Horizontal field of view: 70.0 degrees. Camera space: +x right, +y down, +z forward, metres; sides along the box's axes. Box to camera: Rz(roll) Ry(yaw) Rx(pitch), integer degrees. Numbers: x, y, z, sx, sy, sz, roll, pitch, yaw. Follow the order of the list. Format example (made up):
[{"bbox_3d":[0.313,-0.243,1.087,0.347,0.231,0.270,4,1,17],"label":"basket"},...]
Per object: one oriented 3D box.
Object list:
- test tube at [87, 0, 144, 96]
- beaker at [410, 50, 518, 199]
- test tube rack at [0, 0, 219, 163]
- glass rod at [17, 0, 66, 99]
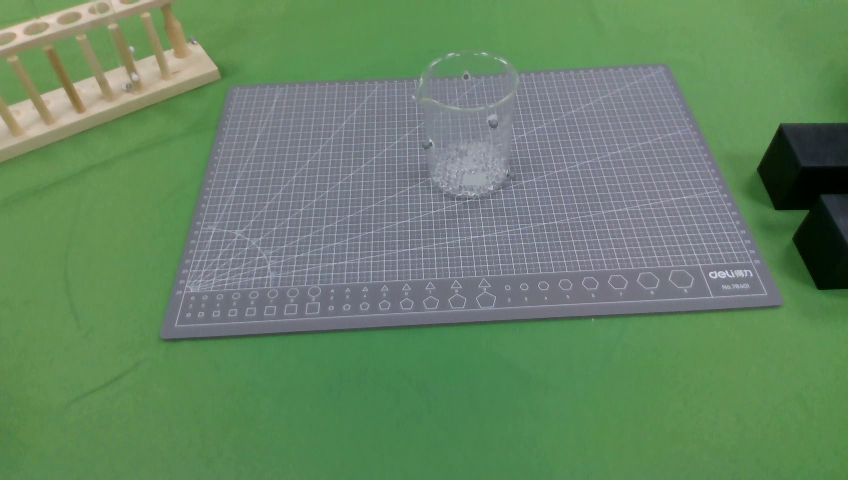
[{"bbox_3d":[-0.289,-0.198,0.550,0.017,0.151,0.017,0,48,1],"label":"test tube"},{"bbox_3d":[0.032,-0.089,0.494,0.084,0.101,0.073,-17,51,-10],"label":"beaker"},{"bbox_3d":[-0.334,-0.161,0.580,0.242,0.086,0.066,-28,55,-20],"label":"test tube rack"},{"bbox_3d":[-0.360,-0.216,0.539,0.008,0.201,0.008,-1,43,1],"label":"glass rod"}]
